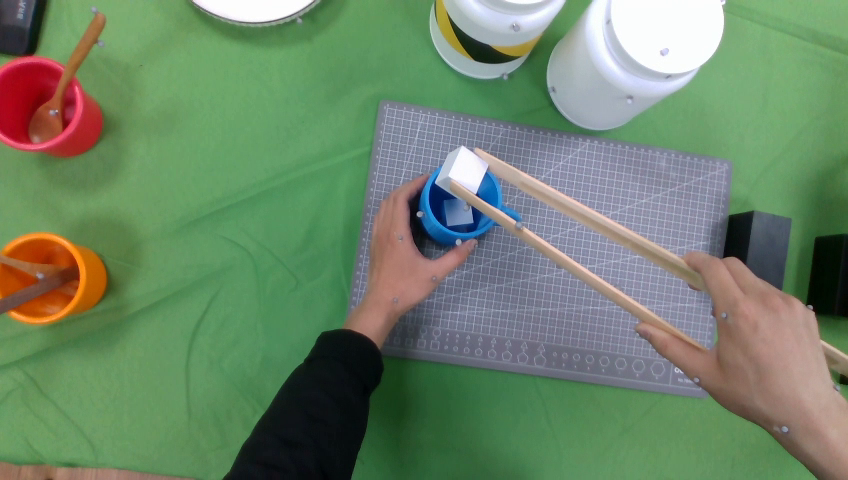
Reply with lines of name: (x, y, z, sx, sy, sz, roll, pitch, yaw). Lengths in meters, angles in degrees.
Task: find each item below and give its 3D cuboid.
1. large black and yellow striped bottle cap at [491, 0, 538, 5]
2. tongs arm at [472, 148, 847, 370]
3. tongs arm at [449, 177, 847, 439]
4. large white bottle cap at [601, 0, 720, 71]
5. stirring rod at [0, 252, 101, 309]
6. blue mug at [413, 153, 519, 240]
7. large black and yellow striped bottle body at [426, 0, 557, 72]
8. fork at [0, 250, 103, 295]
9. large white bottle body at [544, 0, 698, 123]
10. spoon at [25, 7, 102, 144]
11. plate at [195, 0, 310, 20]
large black and yellow striped bottle cap: (0.084, -0.280, 0.569, 0.115, 0.019, 0.115, 0, 88, -7)
tongs arm: (0.200, 0.023, 0.499, 0.385, 0.028, 0.028, 32, 69, 14)
tongs arm: (0.187, 0.042, 0.492, 0.382, 0.027, 0.050, 36, 74, 15)
large white bottle cap: (0.227, -0.220, 0.581, 0.115, 0.018, 0.114, 1, 86, -7)
stirring rod: (-0.405, 0.053, 0.603, 0.014, 0.006, 0.176, 55, 41, -4)
blue mug: (0.049, -0.041, 0.673, 0.117, 0.106, 0.082, 15, 84, -6)
large black and yellow striped bottle body: (0.075, -0.272, 0.652, 0.131, 0.184, 0.130, 0, 86, -6)
fork: (-0.422, 0.012, 0.597, 0.209, 0.018, 0.028, 33, 79, -47)
large white bottle body: (0.218, -0.214, 0.664, 0.131, 0.184, 0.130, 0, 86, -6)
spoon: (-0.367, -0.163, 0.616, 0.194, 0.021, 0.041, -37, 87, 36)
plate: (-0.199, -0.352, 0.699, 0.208, 0.039, 0.207, 0, 87, -6)
